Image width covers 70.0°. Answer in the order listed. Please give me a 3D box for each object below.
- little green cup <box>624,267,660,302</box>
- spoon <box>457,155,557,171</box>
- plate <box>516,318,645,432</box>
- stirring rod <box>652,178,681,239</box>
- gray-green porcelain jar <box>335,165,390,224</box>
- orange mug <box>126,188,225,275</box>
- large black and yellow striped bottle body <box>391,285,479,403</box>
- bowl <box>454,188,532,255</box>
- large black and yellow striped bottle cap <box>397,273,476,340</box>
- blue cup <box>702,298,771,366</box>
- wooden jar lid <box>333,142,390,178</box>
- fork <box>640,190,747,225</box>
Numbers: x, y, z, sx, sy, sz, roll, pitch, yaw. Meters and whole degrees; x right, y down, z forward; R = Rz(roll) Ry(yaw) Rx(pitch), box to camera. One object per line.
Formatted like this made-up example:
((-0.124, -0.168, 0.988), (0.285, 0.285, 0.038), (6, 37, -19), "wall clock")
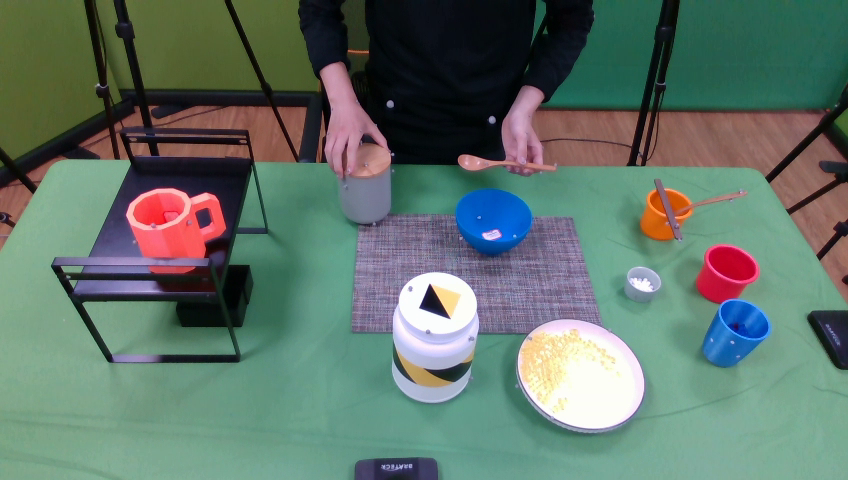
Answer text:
((0.406, 0.084, 1.135), (0.061, 0.039, 0.061), (3, 46, -3), "little green cup")
((0.161, -0.148, 1.185), (0.193, 0.022, 0.041), (3, 49, 12), "spoon")
((0.253, 0.221, 0.993), (0.209, 0.038, 0.208), (2, 46, -2), "plate")
((0.481, -0.065, 1.204), (0.014, 0.006, 0.175), (2, 46, -1), "stirring rod")
((-0.121, -0.104, 1.212), (0.106, 0.127, 0.105), (1, 42, -1), "gray-green porcelain jar")
((-0.357, -0.020, 0.884), (0.126, 0.101, 0.083), (-29, 54, -23), "orange mug")
((0.015, 0.153, 0.938), (0.131, 0.185, 0.130), (2, 46, -2), "large black and yellow striped bottle body")
((0.131, -0.025, 1.187), (0.151, 0.077, 0.150), (2, 46, -2), "bowl")
((0.018, 0.094, 0.878), (0.115, 0.019, 0.114), (3, 46, -3), "large black and yellow striped bottle cap")
((0.519, 0.162, 1.025), (0.093, 0.101, 0.092), (3, 45, -3), "blue cup")
((-0.120, -0.151, 1.170), (0.108, 0.021, 0.107), (1, 44, -1), "wooden jar lid")
((0.533, -0.065, 1.211), (0.207, 0.019, 0.028), (-22, 28, 38), "fork")
